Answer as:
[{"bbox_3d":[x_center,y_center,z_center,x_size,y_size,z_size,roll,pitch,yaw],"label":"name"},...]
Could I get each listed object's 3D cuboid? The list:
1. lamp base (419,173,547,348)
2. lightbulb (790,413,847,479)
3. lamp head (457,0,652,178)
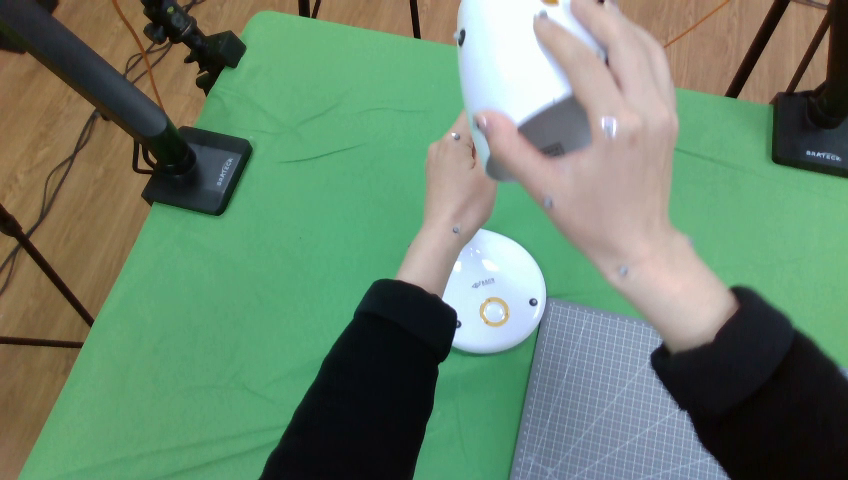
[{"bbox_3d":[0.064,0.016,0.694,0.161,0.181,0.177,-27,65,-10],"label":"lamp base"},{"bbox_3d":[0.423,0.239,0.652,0.059,0.060,0.106,0,51,2],"label":"lightbulb"},{"bbox_3d":[0.071,-0.115,0.399,0.112,0.113,0.122,-20,68,-7],"label":"lamp head"}]
